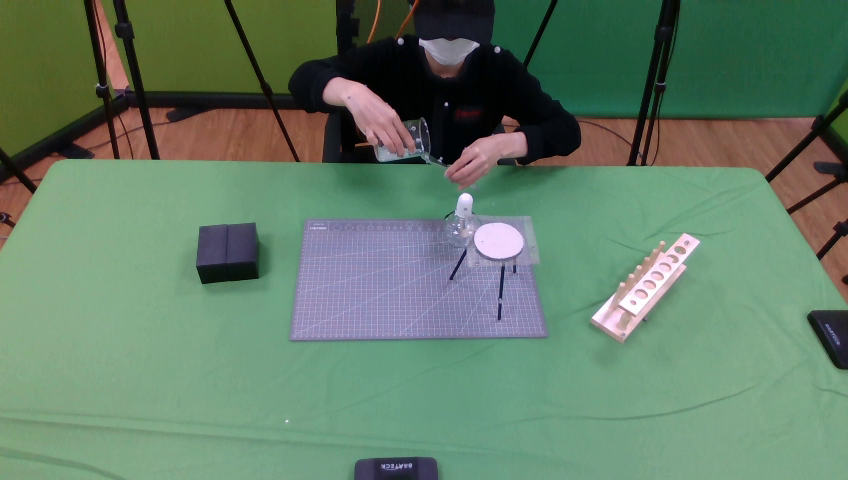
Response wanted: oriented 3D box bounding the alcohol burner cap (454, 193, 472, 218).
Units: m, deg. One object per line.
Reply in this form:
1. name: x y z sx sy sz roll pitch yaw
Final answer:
1. alcohol burner cap: 0.076 -0.068 1.151 0.034 0.048 0.033 4 46 -4

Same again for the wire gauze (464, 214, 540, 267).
1. wire gauze: 0.131 -0.002 1.034 0.121 0.011 0.124 1 45 -2

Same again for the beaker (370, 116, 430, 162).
1. beaker: -0.047 -0.188 1.154 0.100 0.084 0.073 -11 36 -11

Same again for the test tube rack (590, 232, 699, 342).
1. test tube rack: 0.407 0.074 1.112 0.066 0.085 0.242 35 53 26

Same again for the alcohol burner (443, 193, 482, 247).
1. alcohol burner: 0.075 -0.044 1.177 0.078 0.120 0.077 2 44 -1

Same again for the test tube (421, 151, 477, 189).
1. test tube: 0.053 -0.140 1.228 0.151 0.017 0.017 27 35 -34

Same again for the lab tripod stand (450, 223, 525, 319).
1. lab tripod stand: 0.120 0.046 1.080 0.148 0.132 0.147 1 47 -1
